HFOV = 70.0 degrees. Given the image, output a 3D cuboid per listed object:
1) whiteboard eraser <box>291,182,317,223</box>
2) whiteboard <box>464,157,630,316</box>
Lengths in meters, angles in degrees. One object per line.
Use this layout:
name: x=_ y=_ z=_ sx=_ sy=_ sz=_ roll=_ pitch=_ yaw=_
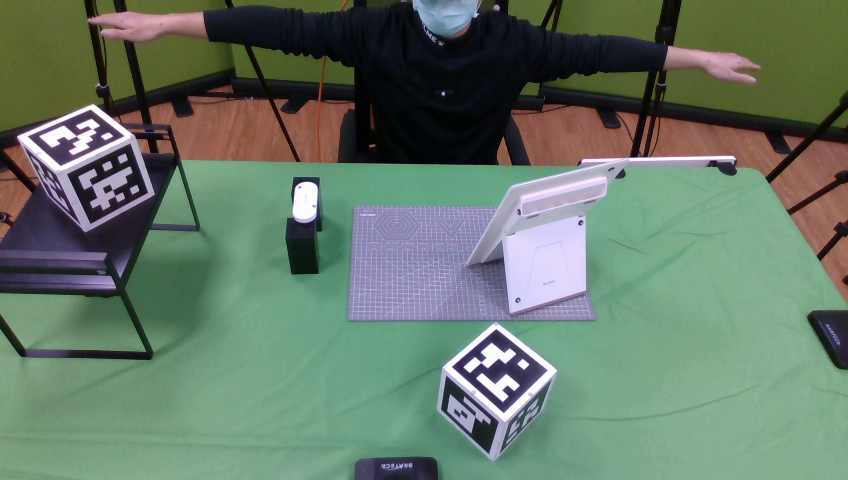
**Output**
whiteboard eraser: x=-0.219 y=-0.070 z=1.111 sx=0.041 sy=0.019 sz=0.100 roll=-2 pitch=45 yaw=-3
whiteboard: x=0.224 y=0.014 z=1.041 sx=0.217 sy=0.306 sz=0.143 roll=-14 pitch=68 yaw=-17
